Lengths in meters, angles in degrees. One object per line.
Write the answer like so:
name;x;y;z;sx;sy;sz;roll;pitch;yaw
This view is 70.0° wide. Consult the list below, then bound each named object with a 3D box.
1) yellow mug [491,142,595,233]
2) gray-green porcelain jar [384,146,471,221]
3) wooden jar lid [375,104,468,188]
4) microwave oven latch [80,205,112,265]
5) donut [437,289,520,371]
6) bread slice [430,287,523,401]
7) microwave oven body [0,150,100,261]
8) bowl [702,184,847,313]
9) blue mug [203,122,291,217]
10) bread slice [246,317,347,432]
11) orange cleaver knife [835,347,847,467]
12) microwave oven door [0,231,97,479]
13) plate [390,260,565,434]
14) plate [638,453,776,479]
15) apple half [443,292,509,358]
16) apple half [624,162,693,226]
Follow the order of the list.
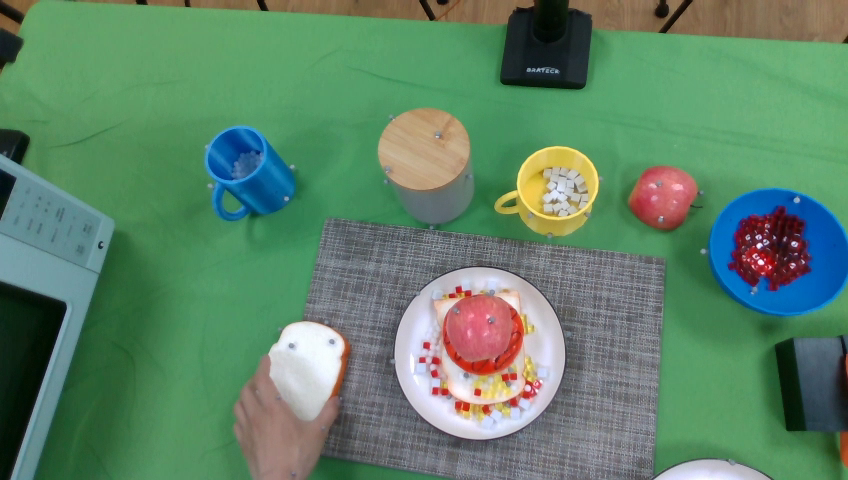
yellow mug;0.149;-0.062;0.775;0.131;0.064;0.099;-15;71;4
gray-green porcelain jar;0.006;-0.089;0.769;0.106;0.127;0.105;-2;72;7
wooden jar lid;-0.003;-0.108;0.709;0.108;0.021;0.107;-1;71;4
microwave oven latch;-0.455;-0.008;0.828;0.030;0.030;0.079;10;75;10
donut;0.064;0.105;0.715;0.099;0.048;0.098;-2;72;7
bread slice;0.070;0.127;0.737;0.107;0.018;0.133;-10;74;5
microwave oven body;-0.643;0.111;0.713;0.325;0.262;0.439;7;74;9
bowl;0.397;0.018;0.712;0.151;0.077;0.150;-2;73;7
blue mug;-0.242;-0.083;0.809;0.082;0.106;0.116;28;78;15
bread slice;-0.158;0.163;0.766;0.104;0.019;0.131;15;76;10
orange cleaver knife;0.460;0.222;0.639;0.012;0.077;0.211;-3;94;0
microwave oven door;-0.508;0.168;0.673;0.039;0.245;0.354;7;74;10
plate;0.064;0.128;0.737;0.207;0.039;0.206;-2;73;7
plate;0.308;0.335;0.646;0.209;0.038;0.208;-2;72;7
apple half;0.058;0.093;0.681;0.081;0.033;0.080;-4;68;11
apple half;0.298;-0.064;0.764;0.074;0.054;0.080;29;79;17
